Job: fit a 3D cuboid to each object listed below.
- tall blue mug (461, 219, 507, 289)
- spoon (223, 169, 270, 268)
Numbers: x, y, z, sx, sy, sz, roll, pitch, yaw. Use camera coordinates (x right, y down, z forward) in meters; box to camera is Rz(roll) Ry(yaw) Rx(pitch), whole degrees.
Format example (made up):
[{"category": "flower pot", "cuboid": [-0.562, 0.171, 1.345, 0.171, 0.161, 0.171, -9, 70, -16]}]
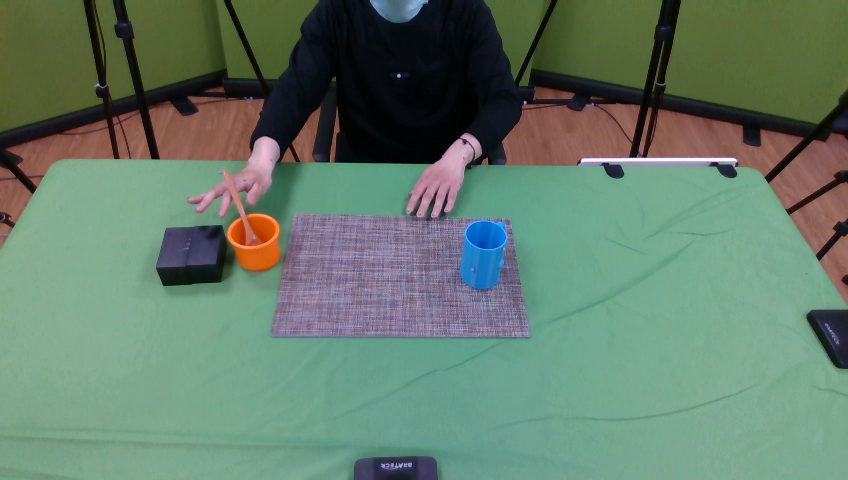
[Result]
[{"category": "tall blue mug", "cuboid": [0.111, 0.016, 1.122, 0.078, 0.108, 0.106, 6, 46, 4]}, {"category": "spoon", "cuboid": [-0.333, -0.040, 1.124, 0.041, 0.194, 0.021, -20, 7, -20]}]
